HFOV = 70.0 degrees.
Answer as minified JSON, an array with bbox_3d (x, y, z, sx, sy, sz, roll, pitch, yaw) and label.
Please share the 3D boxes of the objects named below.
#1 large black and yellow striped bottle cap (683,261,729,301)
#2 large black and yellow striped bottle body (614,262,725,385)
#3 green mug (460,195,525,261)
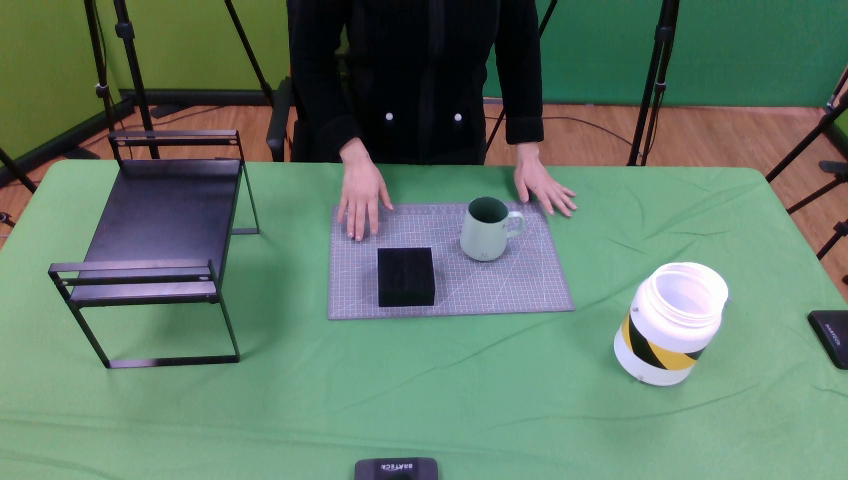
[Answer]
[{"bbox_3d":[0.518,0.087,1.153,0.115,0.019,0.114,2,47,-2],"label":"large black and yellow striped bottle cap"},{"bbox_3d":[0.397,0.135,0.982,0.131,0.185,0.130,2,46,-2],"label":"large black and yellow striped bottle body"},{"bbox_3d":[0.134,-0.024,1.168,0.125,0.105,0.092,-8,47,-12],"label":"green mug"}]
